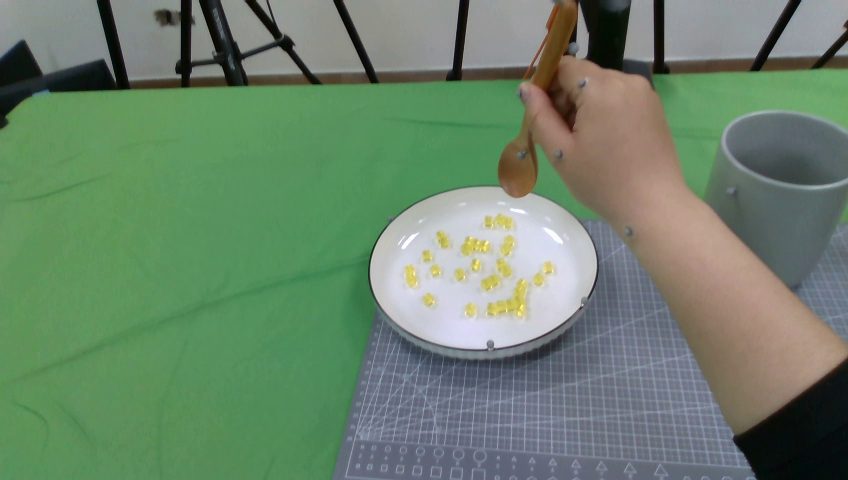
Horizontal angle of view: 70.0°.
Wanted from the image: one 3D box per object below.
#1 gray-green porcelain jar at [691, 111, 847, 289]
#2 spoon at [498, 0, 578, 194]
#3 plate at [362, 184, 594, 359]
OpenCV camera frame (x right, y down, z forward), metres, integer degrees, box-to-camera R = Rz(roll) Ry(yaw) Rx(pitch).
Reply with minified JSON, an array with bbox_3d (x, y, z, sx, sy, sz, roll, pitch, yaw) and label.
[{"bbox_3d":[0.293,-0.029,0.520,0.106,0.128,0.105,-4,44,4],"label":"gray-green porcelain jar"},{"bbox_3d":[0.075,-0.087,0.414,0.021,0.195,0.041,-28,70,-11],"label":"spoon"},{"bbox_3d":[0.049,0.028,0.560,0.207,0.039,0.205,-4,44,4],"label":"plate"}]
